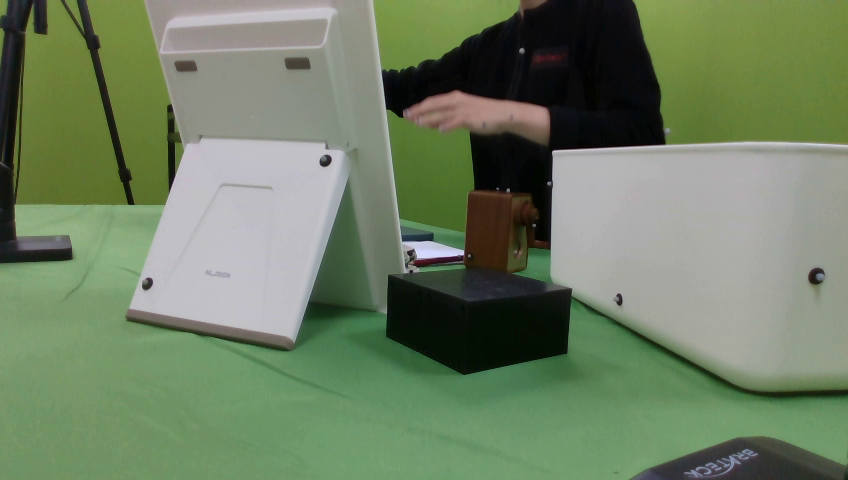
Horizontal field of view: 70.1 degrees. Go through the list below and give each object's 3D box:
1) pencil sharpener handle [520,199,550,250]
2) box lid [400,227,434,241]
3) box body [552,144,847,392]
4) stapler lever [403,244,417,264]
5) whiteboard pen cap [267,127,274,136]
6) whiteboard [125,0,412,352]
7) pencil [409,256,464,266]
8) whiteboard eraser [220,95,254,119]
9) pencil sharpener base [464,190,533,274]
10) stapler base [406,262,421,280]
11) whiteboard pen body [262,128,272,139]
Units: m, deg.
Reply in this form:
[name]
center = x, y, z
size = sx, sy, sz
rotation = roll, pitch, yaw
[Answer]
[pencil sharpener handle]
center = 0.147, -0.019, 0.785
size = 0.030, 0.068, 0.036
rotation = 8, 25, 36
[box lid]
center = -0.196, -0.015, 1.105
size = 0.373, 0.015, 0.262
rotation = -1, 7, -32
[box body]
center = 0.290, 0.002, 0.549
size = 0.255, 0.160, 0.363
rotation = 2, 7, -10
[stapler lever]
center = -0.066, 0.002, 0.755
size = 0.117, 0.040, 0.027
rotation = 9, 13, 23
[whiteboard pen cap]
center = -0.340, -0.239, 1.337
size = 0.018, 0.018, 0.033
rotation = 1, -1, -15
[whiteboard]
center = -0.151, -0.050, 0.471
size = 0.216, 0.305, 0.144
rotation = 6, 27, 24
[pencil]
center = 0.041, 0.027, 0.850
size = 0.195, 0.012, 0.012
rotation = -4, 10, -45
[whiteboard eraser]
center = -0.384, -0.271, 1.245
size = 0.056, 0.042, 0.112
rotation = 6, 8, -12
[pencil sharpener base]
center = 0.102, -0.012, 0.813
size = 0.076, 0.107, 0.061
rotation = 8, 9, 36
[stapler base]
center = -0.069, 0.027, 0.759
size = 0.130, 0.024, 0.041
rotation = 9, 13, 23
[whiteboard pen body]
center = -0.361, -0.245, 1.393
size = 0.017, 0.017, 0.140
rotation = 0, 4, -20
